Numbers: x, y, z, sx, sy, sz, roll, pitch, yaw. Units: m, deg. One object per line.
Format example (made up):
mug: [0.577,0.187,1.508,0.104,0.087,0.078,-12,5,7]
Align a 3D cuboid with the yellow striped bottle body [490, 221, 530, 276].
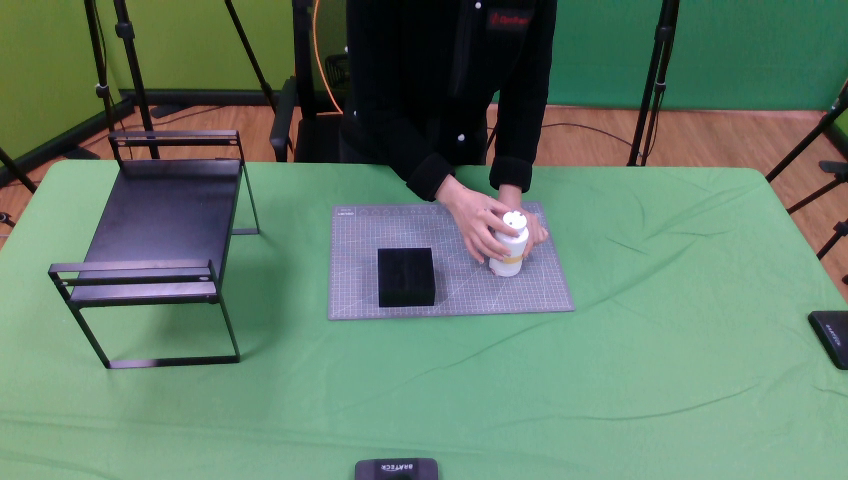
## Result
yellow striped bottle body: [0.161,0.006,1.129,0.063,0.121,0.062,2,46,-1]

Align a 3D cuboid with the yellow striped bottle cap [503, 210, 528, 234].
yellow striped bottle cap: [0.164,-0.033,1.087,0.044,0.019,0.044,2,48,-2]
